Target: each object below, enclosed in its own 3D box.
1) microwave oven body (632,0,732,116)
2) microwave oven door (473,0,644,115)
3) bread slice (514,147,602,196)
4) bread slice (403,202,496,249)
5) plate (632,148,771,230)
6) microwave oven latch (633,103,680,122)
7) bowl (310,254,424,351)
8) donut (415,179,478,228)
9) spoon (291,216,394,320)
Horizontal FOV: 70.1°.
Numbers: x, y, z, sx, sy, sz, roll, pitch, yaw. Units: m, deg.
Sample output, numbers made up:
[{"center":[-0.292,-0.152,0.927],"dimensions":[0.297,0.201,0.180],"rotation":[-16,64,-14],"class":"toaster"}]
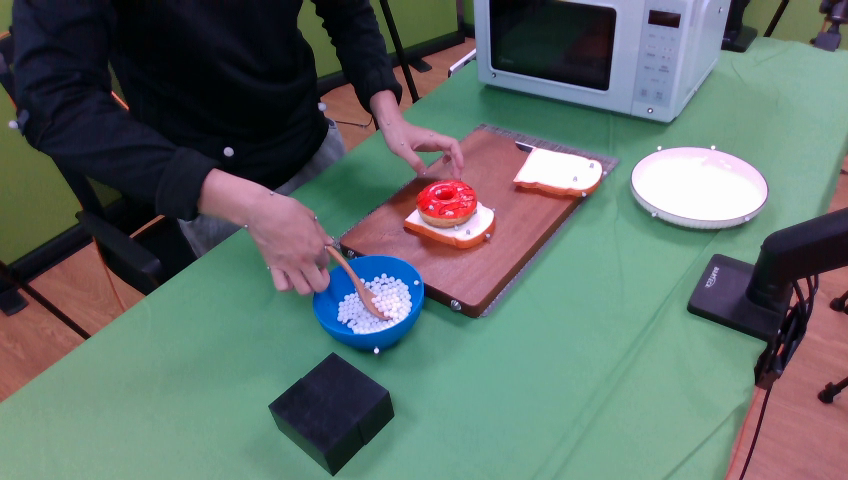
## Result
[{"center":[0.377,-0.462,1.267],"dimensions":[0.438,0.261,0.327],"rotation":[21,49,30],"class":"microwave oven body"},{"center":[0.257,-0.396,1.199],"dimensions":[0.353,0.245,0.039],"rotation":[21,48,29],"class":"microwave oven door"},{"center":[0.233,-0.115,1.027],"dimensions":[0.133,0.018,0.107],"rotation":[13,45,20],"class":"bread slice"},{"center":[0.048,-0.034,0.961],"dimensions":[0.130,0.019,0.105],"rotation":[22,49,32],"class":"bread slice"},{"center":[0.447,-0.081,0.988],"dimensions":[0.207,0.039,0.206],"rotation":[-4,40,4],"class":"plate"},{"center":[0.444,-0.249,1.157],"dimensions":[0.078,0.029,0.030],"rotation":[21,49,30],"class":"microwave oven latch"},{"center":[-0.071,0.097,0.821],"dimensions":[0.151,0.077,0.150],"rotation":[-4,40,4],"class":"bowl"},{"center":[0.036,-0.058,0.944],"dimensions":[0.099,0.048,0.098],"rotation":[-5,40,5],"class":"donut"},{"center":[-0.111,0.038,0.823],"dimensions":[0.021,0.194,0.042],"rotation":[-37,6,31],"class":"spoon"}]
